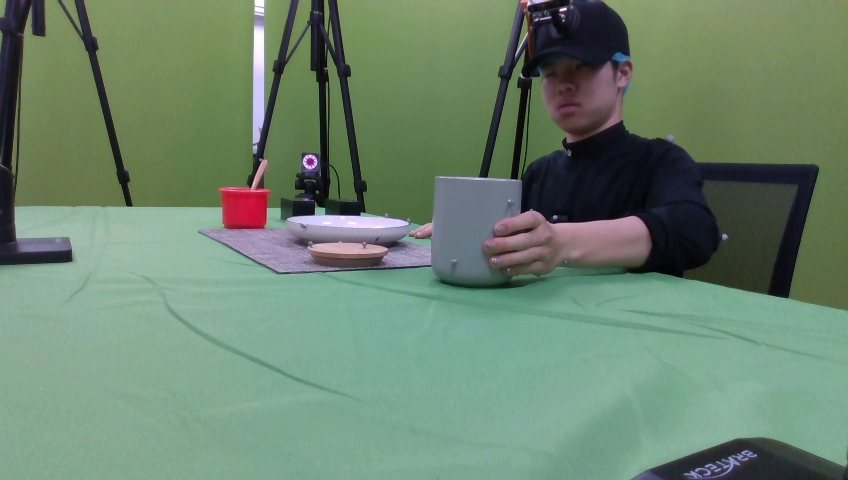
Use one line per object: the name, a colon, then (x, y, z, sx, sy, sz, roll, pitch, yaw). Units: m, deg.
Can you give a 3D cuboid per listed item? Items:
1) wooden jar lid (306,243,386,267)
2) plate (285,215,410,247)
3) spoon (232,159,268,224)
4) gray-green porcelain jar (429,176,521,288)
wooden jar lid: (-0.105, 0.020, 0.816, 0.108, 0.020, 0.108, 1, 7, 0)
plate: (-0.127, -0.015, 1.012, 0.208, 0.039, 0.207, 3, 7, 0)
spoon: (-0.343, -0.101, 1.218, 0.041, 0.021, 0.193, 4, 51, 4)
gray-green porcelain jar: (0.060, -0.011, 0.725, 0.106, 0.126, 0.106, 2, 7, 0)
